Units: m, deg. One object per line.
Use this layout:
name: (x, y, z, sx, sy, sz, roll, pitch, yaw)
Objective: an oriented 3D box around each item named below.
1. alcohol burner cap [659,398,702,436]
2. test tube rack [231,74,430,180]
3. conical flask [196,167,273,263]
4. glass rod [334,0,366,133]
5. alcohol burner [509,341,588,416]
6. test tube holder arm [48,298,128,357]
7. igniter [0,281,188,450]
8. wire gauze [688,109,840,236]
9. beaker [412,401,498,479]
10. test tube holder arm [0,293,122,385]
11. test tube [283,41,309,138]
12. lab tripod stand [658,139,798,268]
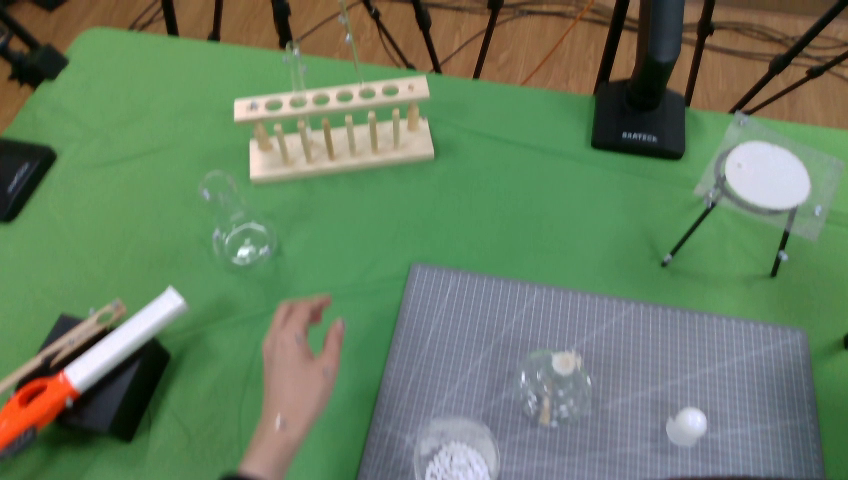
alcohol burner cap: (0.259, 0.174, 0.606, 0.034, 0.048, 0.033, 0, 58, 1)
test tube rack: (-0.116, -0.146, 0.787, 0.242, 0.086, 0.066, -9, 59, -4)
conical flask: (-0.224, -0.032, 0.697, 0.075, 0.123, 0.074, -1, 58, 1)
glass rod: (-0.088, -0.207, 0.745, 0.008, 0.201, 0.008, -3, 51, 5)
alcohol burner: (0.125, 0.129, 0.594, 0.078, 0.120, 0.077, 1, 58, -1)
test tube holder arm: (-0.350, 0.091, 0.628, 0.088, 0.015, 0.010, -38, 95, -20)
igniter: (-0.359, 0.138, 0.596, 0.056, 0.025, 0.276, 35, 64, 31)
wire gauze: (0.354, -0.072, 0.625, 0.121, 0.011, 0.124, 29, 64, 16)
beaker: (0.025, 0.204, 0.559, 0.073, 0.101, 0.084, 37, 66, 22)
test tube holder arm: (-0.386, 0.112, 0.612, 0.178, 0.015, 0.013, -38, 95, -20)
test tube: (-0.158, -0.181, 0.751, 0.017, 0.151, 0.017, 2, 56, -3)
lab tripod stand: (0.348, -0.036, 0.682, 0.148, 0.132, 0.147, 0, 58, 0)
